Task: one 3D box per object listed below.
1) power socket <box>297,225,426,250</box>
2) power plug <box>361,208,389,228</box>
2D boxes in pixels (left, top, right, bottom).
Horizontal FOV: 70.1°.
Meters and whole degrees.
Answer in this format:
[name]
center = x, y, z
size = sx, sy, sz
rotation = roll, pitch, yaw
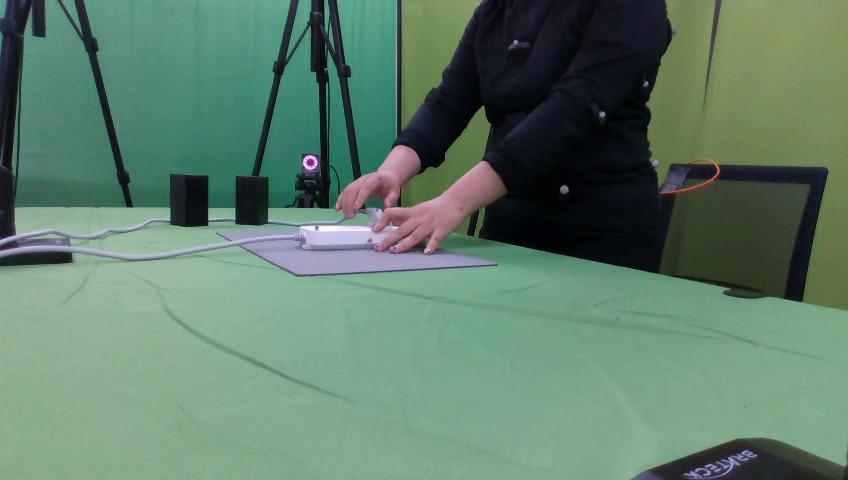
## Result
[power socket]
center = -0.099, -0.006, 0.992
size = 0.228, 0.032, 0.072
rotation = -2, 8, -32
[power plug]
center = -0.083, -0.029, 1.031
size = 0.035, 0.052, 0.072
rotation = -1, 5, -17
